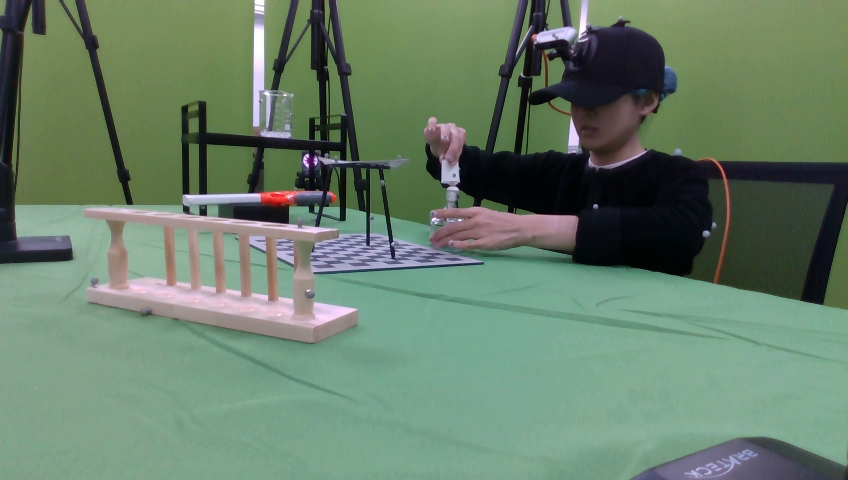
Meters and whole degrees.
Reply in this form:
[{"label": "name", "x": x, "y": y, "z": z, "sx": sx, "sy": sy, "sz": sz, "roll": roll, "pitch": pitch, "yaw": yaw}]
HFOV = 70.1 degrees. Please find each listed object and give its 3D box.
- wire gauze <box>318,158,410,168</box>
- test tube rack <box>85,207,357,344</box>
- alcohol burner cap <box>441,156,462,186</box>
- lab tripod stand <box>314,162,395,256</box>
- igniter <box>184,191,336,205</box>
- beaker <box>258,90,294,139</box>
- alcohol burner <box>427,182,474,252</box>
[{"label": "wire gauze", "x": -0.090, "y": -0.114, "z": 0.888, "sx": 0.122, "sy": 0.011, "sz": 0.124, "roll": 0, "pitch": 6, "yaw": -15}, {"label": "test tube rack", "x": -0.177, "y": 0.022, "z": 0.518, "sx": 0.241, "sy": 0.085, "sz": 0.067, "roll": 6, "pitch": 7, "yaw": 23}, {"label": "alcohol burner cap", "x": 0.045, "y": -0.113, "z": 0.980, "sx": 0.034, "sy": 0.048, "sz": 0.034, "roll": -1, "pitch": -3, "yaw": 0}, {"label": "lab tripod stand", "x": -0.098, "y": -0.048, "z": 0.897, "sx": 0.148, "sy": 0.131, "sz": 0.148, "roll": 1, "pitch": 6, "yaw": 0}, {"label": "igniter", "x": -0.298, "y": -0.078, "z": 1.126, "sx": 0.278, "sy": 0.025, "sz": 0.057, "roll": -4, "pitch": 13, "yaw": -32}, {"label": "beaker", "x": -0.324, "y": -0.274, "z": 1.331, "sx": 0.083, "sy": 0.100, "sz": 0.074, "roll": 7, "pitch": 9, "yaw": 24}, {"label": "alcohol burner", "x": 0.044, "y": -0.040, "z": 0.984, "sx": 0.078, "sy": 0.119, "sz": 0.078, "roll": 5, "pitch": 6, "yaw": 0}]
